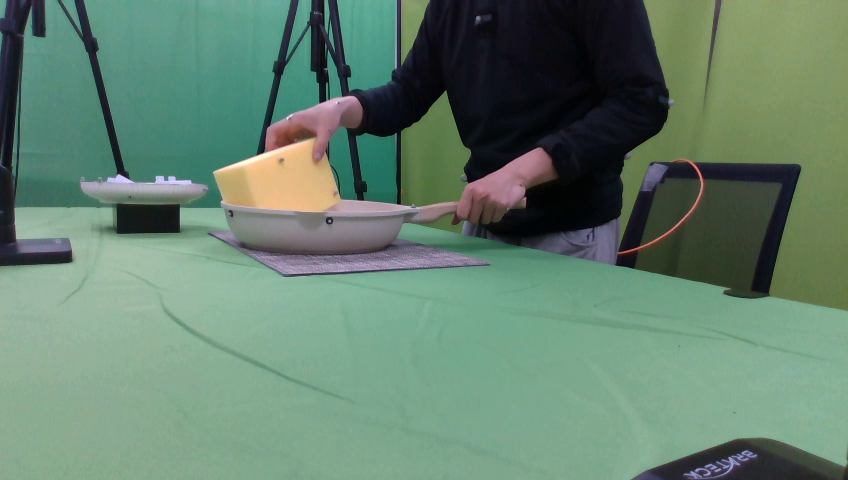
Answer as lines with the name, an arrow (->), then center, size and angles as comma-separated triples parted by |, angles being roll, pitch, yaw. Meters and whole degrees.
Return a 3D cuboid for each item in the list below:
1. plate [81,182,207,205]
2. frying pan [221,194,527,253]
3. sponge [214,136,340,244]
plate -> -0.504, -0.086, 1.100 | 0.208, 0.039, 0.207 | 1, 6, 0
frying pan -> -0.070, -0.043, 0.983 | 0.489, 0.102, 0.306 | -7, 9, -5
sponge -> -0.230, -0.086, 0.982 | 0.060, 0.118, 0.207 | -9, 17, 28
